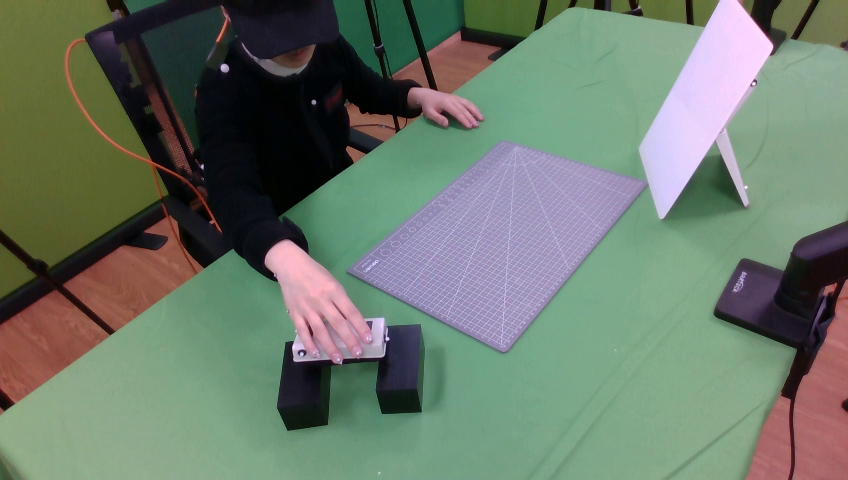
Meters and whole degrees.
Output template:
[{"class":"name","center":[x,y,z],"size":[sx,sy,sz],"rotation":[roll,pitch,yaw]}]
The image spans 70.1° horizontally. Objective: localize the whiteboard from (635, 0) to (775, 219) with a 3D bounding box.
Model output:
[{"class":"whiteboard","center":[0.486,-0.192,0.956],"size":[0.144,0.305,0.216],"rotation":[14,41,-4]}]

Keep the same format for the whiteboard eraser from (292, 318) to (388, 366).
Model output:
[{"class":"whiteboard eraser","center":[-0.102,0.127,0.749],"size":[0.113,0.042,0.055],"rotation":[-3,36,2]}]
